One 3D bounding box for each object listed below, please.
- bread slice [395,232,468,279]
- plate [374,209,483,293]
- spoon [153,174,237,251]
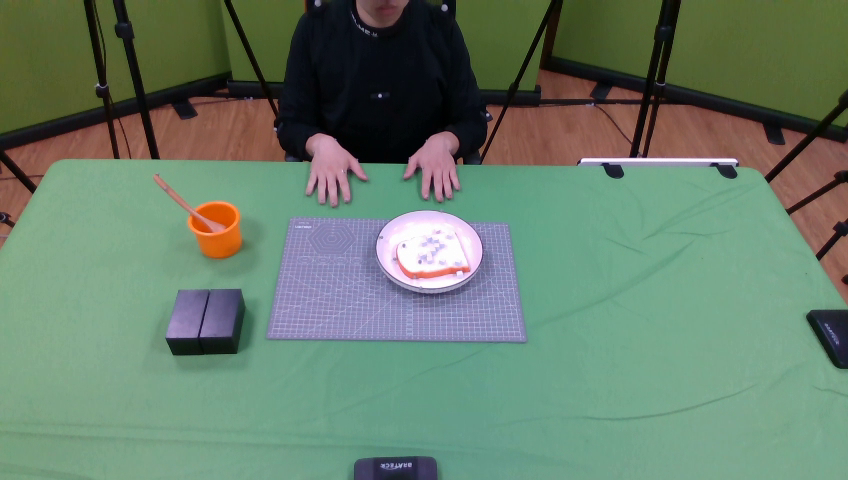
[{"bbox_3d":[0.011,0.030,1.158,0.132,0.019,0.104,-8,47,-14],"label":"bread slice"},{"bbox_3d":[0.009,0.024,1.160,0.209,0.038,0.208,2,46,-2],"label":"plate"},{"bbox_3d":[-0.422,-0.050,1.117,0.194,0.021,0.041,43,43,-19],"label":"spoon"}]
